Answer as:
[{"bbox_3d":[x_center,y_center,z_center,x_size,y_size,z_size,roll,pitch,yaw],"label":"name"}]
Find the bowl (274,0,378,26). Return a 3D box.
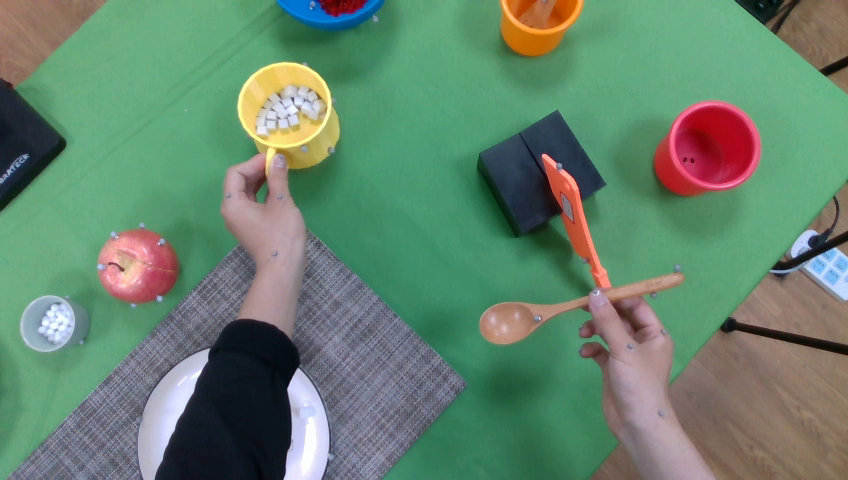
[{"bbox_3d":[-0.108,-0.309,0.701,0.151,0.077,0.151,0,84,1],"label":"bowl"}]

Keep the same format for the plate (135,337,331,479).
[{"bbox_3d":[-0.204,0.209,0.661,0.209,0.038,0.208,0,84,1],"label":"plate"}]

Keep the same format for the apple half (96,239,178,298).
[{"bbox_3d":[-0.319,0.036,0.668,0.081,0.074,0.053,23,88,0],"label":"apple half"}]

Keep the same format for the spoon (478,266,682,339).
[{"bbox_3d":[0.144,0.056,0.572,0.193,0.022,0.041,-18,68,18],"label":"spoon"}]

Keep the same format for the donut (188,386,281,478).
[{"bbox_3d":[-0.202,0.206,0.650,0.099,0.048,0.099,0,87,0],"label":"donut"}]

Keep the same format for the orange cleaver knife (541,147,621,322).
[{"bbox_3d":[0.170,-0.003,0.659,0.012,0.076,0.213,-27,116,-1],"label":"orange cleaver knife"}]

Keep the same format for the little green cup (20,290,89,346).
[{"bbox_3d":[-0.412,0.088,0.680,0.061,0.039,0.061,0,84,1],"label":"little green cup"}]

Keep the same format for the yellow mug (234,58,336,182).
[{"bbox_3d":[-0.156,-0.127,0.672,0.100,0.064,0.130,12,78,2],"label":"yellow mug"}]

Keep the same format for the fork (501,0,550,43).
[{"bbox_3d":[0.159,-0.297,0.661,0.028,0.018,0.207,54,130,8],"label":"fork"}]

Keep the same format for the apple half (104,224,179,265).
[{"bbox_3d":[-0.305,0.001,0.670,0.081,0.081,0.033,23,87,4],"label":"apple half"}]
